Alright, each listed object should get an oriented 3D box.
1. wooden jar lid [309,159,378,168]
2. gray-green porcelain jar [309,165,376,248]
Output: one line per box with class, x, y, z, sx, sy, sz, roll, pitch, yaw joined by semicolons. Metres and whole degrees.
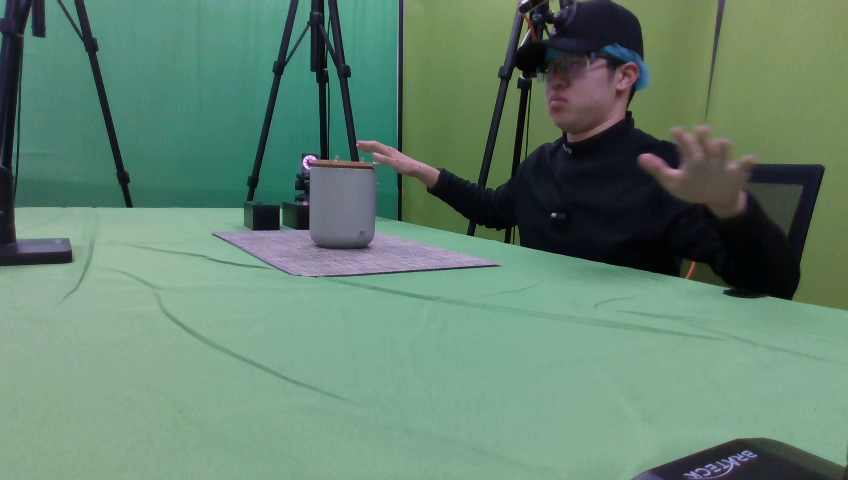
wooden jar lid;-0.128;-0.117;0.957;0.108;0.020;0.108;4;7;0
gray-green porcelain jar;-0.130;-0.054;0.966;0.106;0.126;0.106;2;7;0
